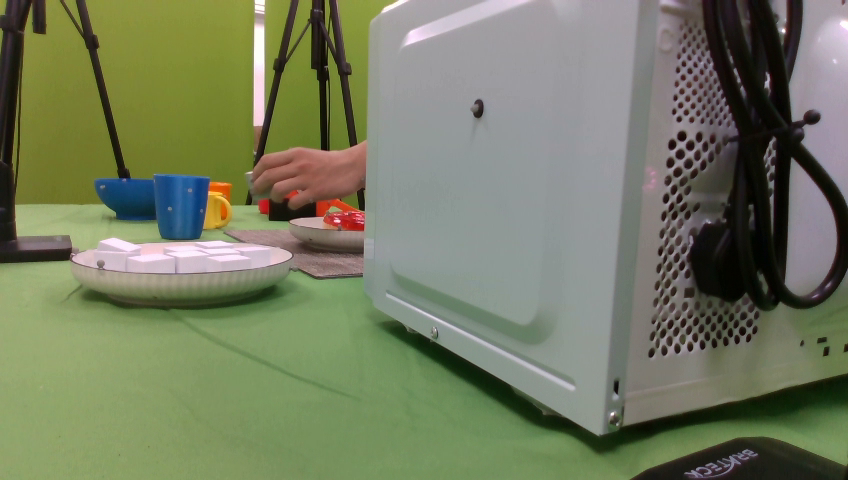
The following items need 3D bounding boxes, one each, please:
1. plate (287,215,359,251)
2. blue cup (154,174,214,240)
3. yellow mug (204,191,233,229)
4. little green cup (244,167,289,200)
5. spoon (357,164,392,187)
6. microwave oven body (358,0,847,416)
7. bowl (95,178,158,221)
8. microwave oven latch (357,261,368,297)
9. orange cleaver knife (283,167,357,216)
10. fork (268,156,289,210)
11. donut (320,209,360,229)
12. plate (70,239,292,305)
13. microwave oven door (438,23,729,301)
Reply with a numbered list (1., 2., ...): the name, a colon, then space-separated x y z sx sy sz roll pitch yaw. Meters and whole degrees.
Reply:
1. plate: -0.111 -0.012 0.960 0.209 0.038 0.209 3 8 0
2. blue cup: -0.391 -0.053 0.978 0.093 0.100 0.092 3 6 0
3. yellow mug: -0.415 -0.057 1.132 0.130 0.064 0.100 6 8 16
4. little green cup: -0.222 -0.080 0.860 0.061 0.038 0.061 -8 12 2
5. spoon: -0.086 -0.129 1.162 0.041 0.021 0.194 12 22 8
6. microwave oven body: 0.211 -0.047 0.474 0.444 0.260 0.324 -1 7 -28
7. bowl: -0.576 -0.081 1.217 0.151 0.077 0.151 3 8 0
8. microwave oven latch: -0.019 0.033 0.531 0.079 0.029 0.030 -1 7 -27
9. orange cleaver knife: -0.238 -0.091 1.381 0.212 0.077 0.012 31 0 -19
10. fork: -0.360 -0.144 1.508 0.028 0.018 0.207 1 49 0
11. donut: -0.115 -0.023 0.961 0.099 0.048 0.099 4 8 0
12. plate: -0.242 0.031 0.618 0.208 0.039 0.207 2 8 0
13. microwave oven door: 0.181 -0.072 0.620 0.358 0.243 0.039 -2 8 -29
